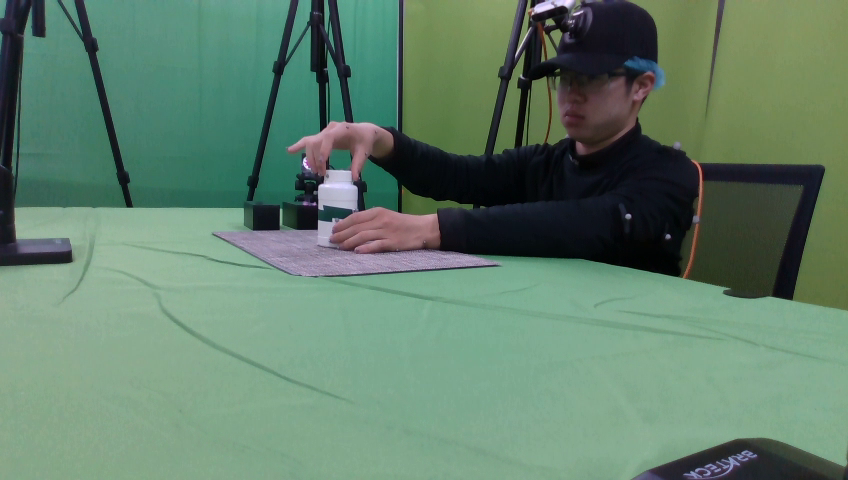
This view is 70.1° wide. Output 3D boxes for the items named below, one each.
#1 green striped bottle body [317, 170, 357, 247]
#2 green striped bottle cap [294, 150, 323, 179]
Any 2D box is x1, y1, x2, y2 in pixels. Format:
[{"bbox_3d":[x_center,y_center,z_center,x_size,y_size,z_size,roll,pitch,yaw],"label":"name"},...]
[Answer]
[{"bbox_3d":[-0.139,-0.051,0.964,0.063,0.119,0.063,2,7,0],"label":"green striped bottle body"},{"bbox_3d":[-0.177,-0.116,0.932,0.044,0.044,0.020,7,19,31],"label":"green striped bottle cap"}]
